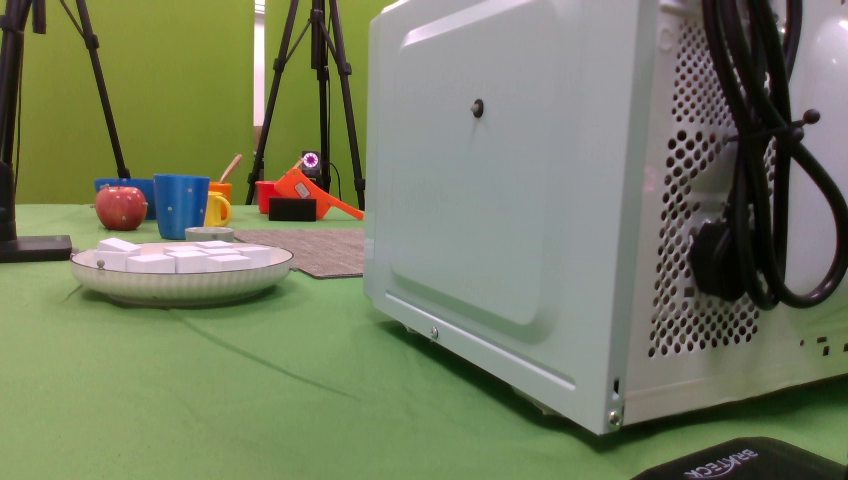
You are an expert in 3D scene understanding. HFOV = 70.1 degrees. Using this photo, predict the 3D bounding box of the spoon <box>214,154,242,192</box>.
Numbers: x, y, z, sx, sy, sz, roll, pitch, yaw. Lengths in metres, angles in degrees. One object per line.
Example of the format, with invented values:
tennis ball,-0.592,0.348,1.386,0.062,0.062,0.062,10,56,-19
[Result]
spoon,-0.439,-0.124,1.318,0.041,0.193,0.022,5,-36,16

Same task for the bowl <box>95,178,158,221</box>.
bowl,-0.576,-0.081,1.217,0.151,0.077,0.151,3,8,0

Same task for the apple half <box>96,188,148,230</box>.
apple half,-0.517,-0.052,1.036,0.081,0.074,0.053,2,10,-26

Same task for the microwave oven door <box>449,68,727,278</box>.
microwave oven door,0.194,-0.094,0.798,0.354,0.243,0.039,7,9,35

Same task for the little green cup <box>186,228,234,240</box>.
little green cup,-0.284,0.005,0.805,0.061,0.038,0.061,2,8,0

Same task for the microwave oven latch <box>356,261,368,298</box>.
microwave oven latch,-0.020,0.033,0.530,0.079,0.029,0.030,0,7,-26

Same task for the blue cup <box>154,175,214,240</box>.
blue cup,-0.390,-0.053,0.978,0.093,0.100,0.092,3,6,0

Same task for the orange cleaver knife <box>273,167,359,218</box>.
orange cleaver knife,-0.238,-0.090,1.381,0.212,0.077,0.012,31,0,-19

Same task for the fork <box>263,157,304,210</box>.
fork,-0.345,-0.143,1.506,0.028,0.019,0.207,-4,46,28

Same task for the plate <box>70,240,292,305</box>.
plate,-0.242,0.031,0.618,0.208,0.039,0.207,2,8,0

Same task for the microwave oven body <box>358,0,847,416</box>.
microwave oven body,0.210,-0.047,0.475,0.444,0.260,0.324,-1,7,-28

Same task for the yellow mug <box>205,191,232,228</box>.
yellow mug,-0.415,-0.057,1.131,0.130,0.064,0.100,6,7,16

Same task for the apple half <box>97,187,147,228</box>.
apple half,-0.534,-0.059,1.071,0.082,0.081,0.032,-1,11,-25
